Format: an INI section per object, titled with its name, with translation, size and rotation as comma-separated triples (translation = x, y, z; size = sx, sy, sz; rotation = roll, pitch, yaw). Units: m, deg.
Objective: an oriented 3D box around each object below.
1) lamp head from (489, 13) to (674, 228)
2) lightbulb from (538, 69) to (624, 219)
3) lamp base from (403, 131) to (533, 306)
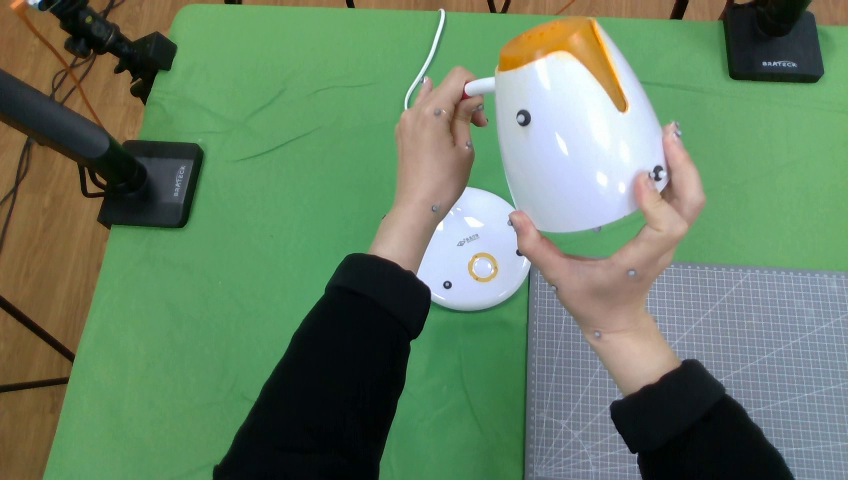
[lamp head]
translation = 0.095, -0.087, 0.409
size = 0.112, 0.111, 0.124
rotation = -34, 114, -9
[lightbulb]
translation = 0.103, -0.064, 0.417
size = 0.059, 0.108, 0.059
rotation = -15, 29, 9
[lamp base]
translation = 0.042, -0.032, 0.683
size = 0.160, 0.181, 0.178
rotation = -35, 69, -10
